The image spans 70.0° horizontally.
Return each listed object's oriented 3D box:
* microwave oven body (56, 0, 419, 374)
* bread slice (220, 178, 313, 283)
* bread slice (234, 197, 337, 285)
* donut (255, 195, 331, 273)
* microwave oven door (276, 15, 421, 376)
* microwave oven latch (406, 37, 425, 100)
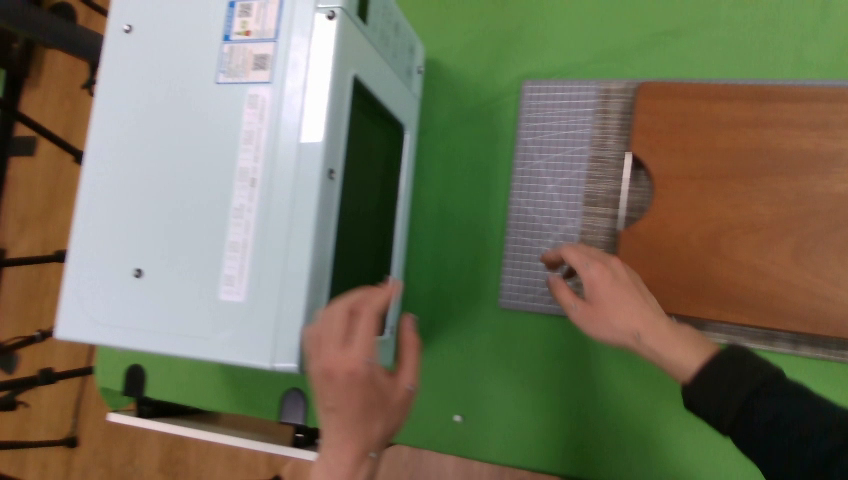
[{"bbox_3d":[-0.205,-0.077,0.743,0.325,0.262,0.440,3,83,18],"label":"microwave oven body"},{"bbox_3d":[-0.187,-0.001,0.711,0.134,0.018,0.106,-17,79,29],"label":"bread slice"},{"bbox_3d":[-0.186,-0.003,0.798,0.131,0.019,0.105,10,93,7],"label":"bread slice"},{"bbox_3d":[-0.165,-0.008,0.756,0.099,0.048,0.099,2,101,9],"label":"donut"},{"bbox_3d":[-0.073,-0.030,0.686,0.039,0.245,0.354,3,82,19],"label":"microwave oven door"},{"bbox_3d":[-0.016,-0.228,0.808,0.030,0.030,0.079,3,83,19],"label":"microwave oven latch"}]
